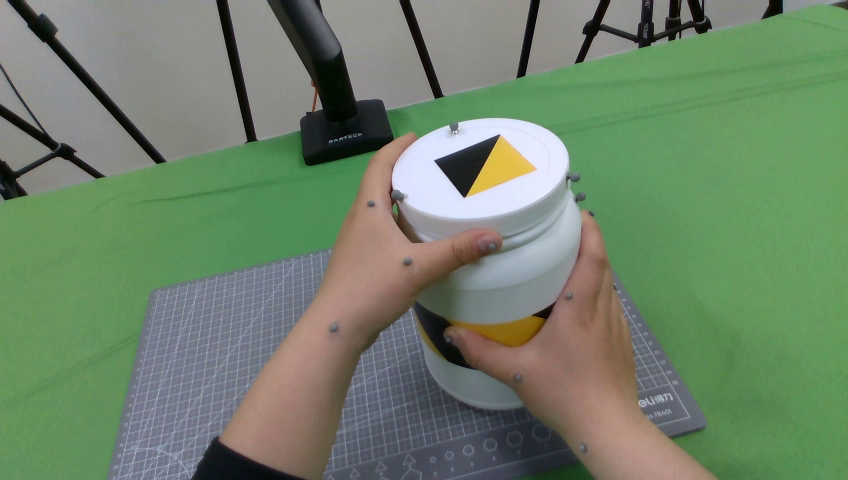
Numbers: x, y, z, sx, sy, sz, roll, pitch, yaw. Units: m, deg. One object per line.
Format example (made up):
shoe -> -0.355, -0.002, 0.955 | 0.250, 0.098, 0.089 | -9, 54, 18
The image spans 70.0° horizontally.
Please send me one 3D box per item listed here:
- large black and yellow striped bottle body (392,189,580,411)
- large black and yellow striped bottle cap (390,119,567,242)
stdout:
large black and yellow striped bottle body -> 0.049, 0.023, 0.449 | 0.130, 0.186, 0.129 | -7, 41, 6
large black and yellow striped bottle cap -> 0.035, -0.043, 0.393 | 0.115, 0.019, 0.114 | -6, 42, 5
